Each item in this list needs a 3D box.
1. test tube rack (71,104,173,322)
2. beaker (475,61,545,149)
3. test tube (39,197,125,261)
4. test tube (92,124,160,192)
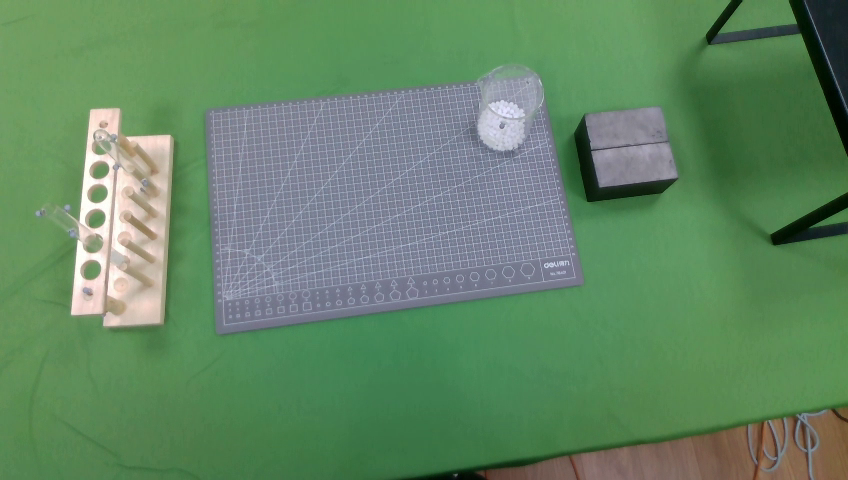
[{"bbox_3d":[-0.349,-0.031,0.712,0.067,0.085,0.241,-3,75,-3],"label":"test tube rack"},{"bbox_3d":[0.100,-0.165,0.757,0.084,0.101,0.073,23,74,6],"label":"beaker"},{"bbox_3d":[-0.363,-0.008,0.654,0.017,0.151,0.017,0,68,1],"label":"test tube"},{"bbox_3d":[-0.333,-0.089,0.682,0.017,0.151,0.017,1,72,-2],"label":"test tube"}]
